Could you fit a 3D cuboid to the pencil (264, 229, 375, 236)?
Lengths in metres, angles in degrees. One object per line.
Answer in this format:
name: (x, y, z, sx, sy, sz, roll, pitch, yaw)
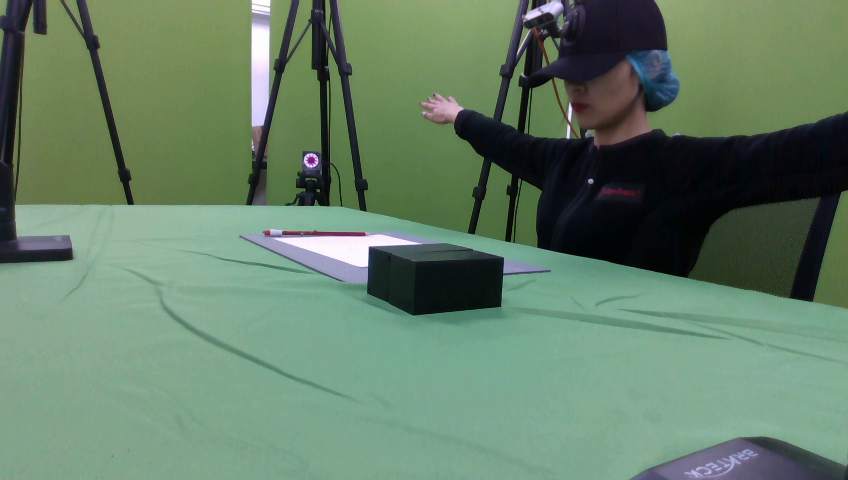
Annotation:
pencil: (-0.180, -0.011, 1.058, 0.195, 0.012, 0.012, 1, 7, -20)
